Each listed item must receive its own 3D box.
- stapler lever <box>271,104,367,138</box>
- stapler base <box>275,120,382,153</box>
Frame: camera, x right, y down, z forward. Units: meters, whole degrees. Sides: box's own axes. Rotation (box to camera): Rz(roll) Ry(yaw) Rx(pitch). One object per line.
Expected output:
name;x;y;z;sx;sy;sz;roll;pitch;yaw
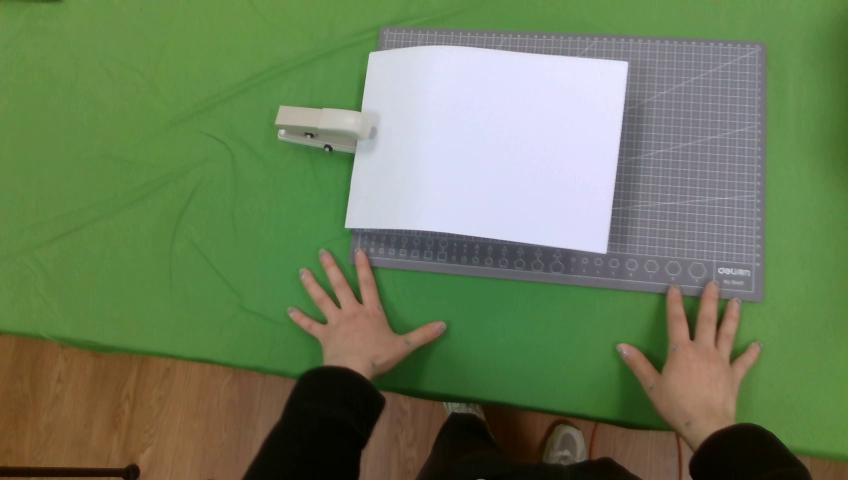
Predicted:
stapler lever;-0.122;-0.138;0.694;0.118;0.040;0.026;11;79;10
stapler base;-0.117;-0.133;0.717;0.130;0.024;0.041;11;79;11
